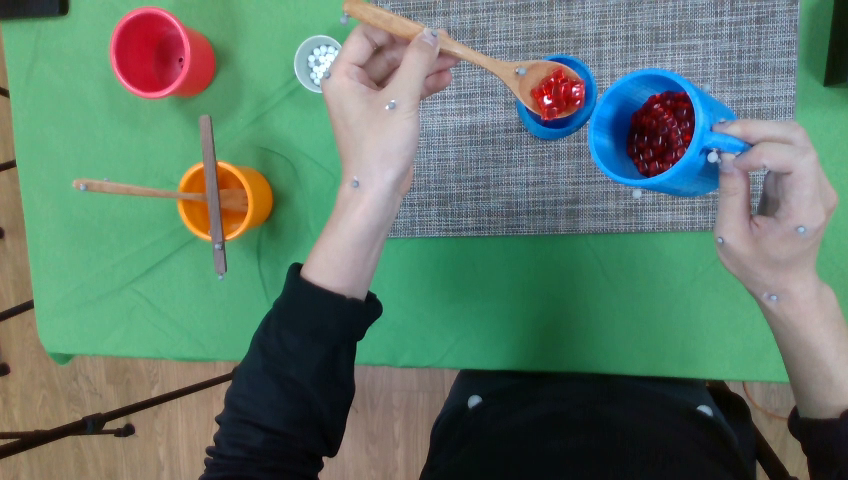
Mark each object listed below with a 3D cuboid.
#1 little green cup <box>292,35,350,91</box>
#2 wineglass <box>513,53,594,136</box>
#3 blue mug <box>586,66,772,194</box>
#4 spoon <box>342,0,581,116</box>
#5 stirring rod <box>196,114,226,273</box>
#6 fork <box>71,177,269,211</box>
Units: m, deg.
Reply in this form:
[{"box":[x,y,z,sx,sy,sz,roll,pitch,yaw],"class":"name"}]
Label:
[{"box":[-0.115,-0.198,0.689,0.061,0.038,0.061,1,100,10],"class":"little green cup"},{"box":[0.123,-0.136,0.589,0.073,0.172,0.074,1,98,9],"class":"wineglass"},{"box":[0.197,-0.075,0.454,0.115,0.106,0.082,21,103,39],"class":"blue mug"},{"box":[0.033,-0.136,0.444,0.195,0.021,0.042,15,109,-24],"class":"spoon"},{"box":[-0.236,-0.050,0.673,0.014,0.006,0.176,-2,99,10],"class":"stirring rod"},{"box":[-0.277,-0.052,0.682,0.209,0.018,0.028,4,109,-35],"class":"fork"}]
